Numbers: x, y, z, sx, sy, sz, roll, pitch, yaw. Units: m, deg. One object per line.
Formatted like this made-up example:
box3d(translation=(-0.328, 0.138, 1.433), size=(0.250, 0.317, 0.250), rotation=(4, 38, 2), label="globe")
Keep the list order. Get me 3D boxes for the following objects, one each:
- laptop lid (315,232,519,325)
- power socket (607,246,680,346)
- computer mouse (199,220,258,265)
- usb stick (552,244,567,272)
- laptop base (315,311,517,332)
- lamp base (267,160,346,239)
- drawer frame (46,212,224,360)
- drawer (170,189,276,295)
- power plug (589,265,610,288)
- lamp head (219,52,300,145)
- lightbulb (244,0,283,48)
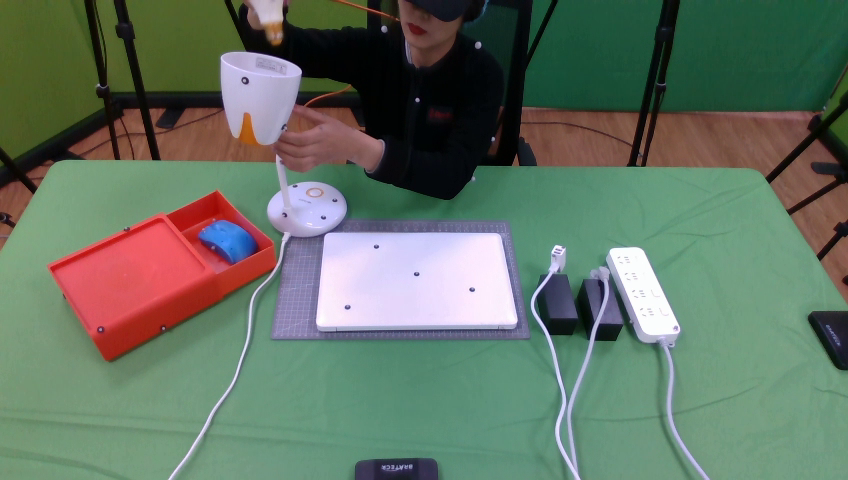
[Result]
box3d(translation=(-0.015, 0.065, 1.118), size=(0.357, 0.013, 0.240), rotation=(1, 43, -3), label="laptop lid")
box3d(translation=(0.403, 0.096, 1.123), size=(0.072, 0.033, 0.225), rotation=(-2, 46, -5), label="power socket")
box3d(translation=(-0.374, -0.001, 1.153), size=(0.116, 0.041, 0.063), rotation=(30, 52, 27), label="computer mouse")
box3d(translation=(0.251, 0.039, 1.123), size=(0.021, 0.059, 0.027), rotation=(14, 47, 24), label="usb stick")
box3d(translation=(-0.016, 0.075, 1.125), size=(0.355, 0.023, 0.234), rotation=(0, 42, -4), label="laptop base")
box3d(translation=(-0.241, -0.110, 1.175), size=(0.160, 0.181, 0.178), rotation=(11, 49, 10), label="lamp base")
box3d(translation=(-0.495, 0.071, 1.050), size=(0.213, 0.083, 0.200), rotation=(-32, 56, -30), label="drawer frame")
box3d(translation=(-0.414, 0.022, 1.109), size=(0.212, 0.073, 0.193), rotation=(-34, 57, -30), label="drawer")
box3d(translation=(0.318, 0.073, 1.108), size=(0.035, 0.053, 0.072), rotation=(26, 34, 13), label="power plug")
box3d(translation=(-0.244, -0.204, 0.889), size=(0.112, 0.123, 0.112), rotation=(11, 33, -7), label="lamp head")
box3d(translation=(-0.227, -0.333, 0.873), size=(0.059, 0.108, 0.059), rotation=(-7, 19, 3), label="lightbulb")
